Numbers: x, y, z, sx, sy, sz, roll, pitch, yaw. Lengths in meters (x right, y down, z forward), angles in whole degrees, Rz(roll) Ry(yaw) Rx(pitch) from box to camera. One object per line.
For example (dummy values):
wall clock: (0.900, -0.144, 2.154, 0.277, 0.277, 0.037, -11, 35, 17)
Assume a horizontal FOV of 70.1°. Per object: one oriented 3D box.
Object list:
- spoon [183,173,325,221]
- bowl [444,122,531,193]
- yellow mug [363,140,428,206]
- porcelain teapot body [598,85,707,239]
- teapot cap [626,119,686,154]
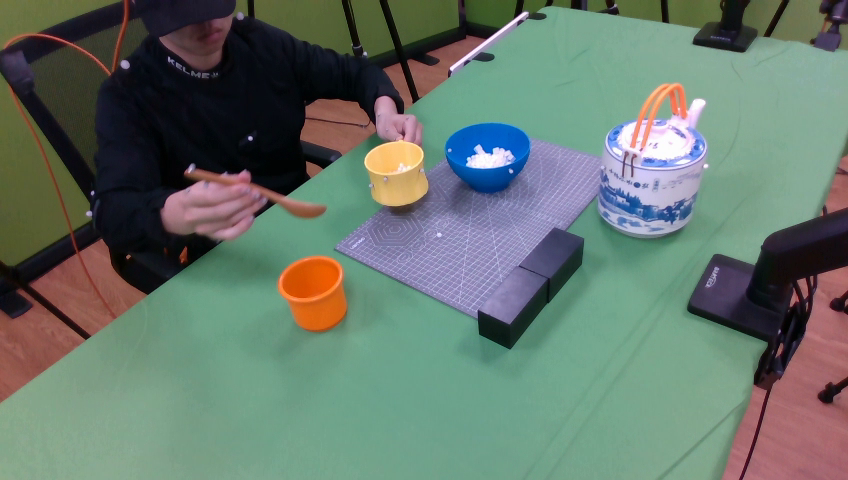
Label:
spoon: (-0.207, -0.054, 0.755, 0.041, 0.195, 0.021, -23, 59, 40)
bowl: (0.113, -0.136, 1.063, 0.151, 0.077, 0.150, -4, 41, 4)
yellow mug: (-0.044, -0.122, 1.021, 0.100, 0.064, 0.130, -1, 40, 9)
porcelain teapot body: (0.362, -0.137, 0.921, 0.144, 0.226, 0.206, 29, 51, 36)
teapot cap: (0.338, -0.153, 0.882, 0.085, 0.044, 0.085, -3, 38, 3)
